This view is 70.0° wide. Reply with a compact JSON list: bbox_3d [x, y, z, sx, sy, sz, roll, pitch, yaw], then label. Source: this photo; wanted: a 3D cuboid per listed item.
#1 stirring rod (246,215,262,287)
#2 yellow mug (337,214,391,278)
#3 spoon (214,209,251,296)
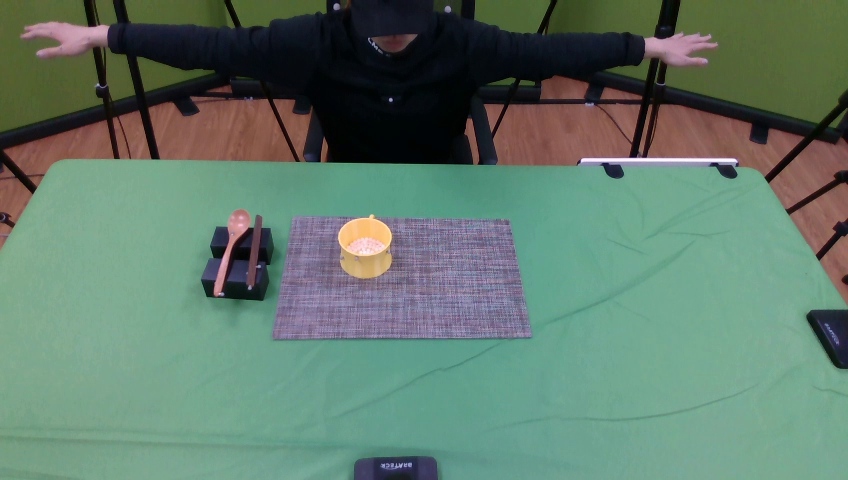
[{"bbox_3d":[-0.308,0.017,1.098,0.014,0.006,0.175,24,37,-28],"label":"stirring rod"},{"bbox_3d":[-0.110,0.003,1.152,0.100,0.064,0.130,7,45,2],"label":"yellow mug"},{"bbox_3d":[-0.349,0.019,1.087,0.041,0.022,0.192,4,48,0],"label":"spoon"}]
